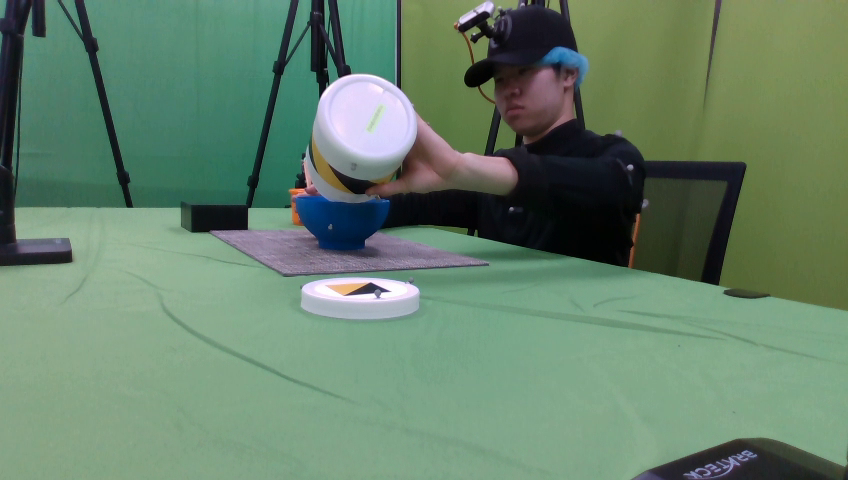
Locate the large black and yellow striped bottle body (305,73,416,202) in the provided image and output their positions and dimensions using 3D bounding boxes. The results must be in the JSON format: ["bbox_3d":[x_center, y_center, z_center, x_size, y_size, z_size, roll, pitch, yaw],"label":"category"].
[{"bbox_3d":[-0.096,-0.132,0.851,0.131,0.130,0.183,0,-18,-18],"label":"large black and yellow striped bottle body"}]

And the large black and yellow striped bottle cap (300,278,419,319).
[{"bbox_3d":[-0.062,0.055,0.588,0.115,0.019,0.115,1,6,0],"label":"large black and yellow striped bottle cap"}]

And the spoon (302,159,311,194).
[{"bbox_3d":[-0.257,-0.113,1.341,0.042,0.193,0.021,3,-38,-19],"label":"spoon"}]

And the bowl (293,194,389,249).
[{"bbox_3d":[-0.132,-0.030,0.962,0.151,0.077,0.151,2,7,0],"label":"bowl"}]
